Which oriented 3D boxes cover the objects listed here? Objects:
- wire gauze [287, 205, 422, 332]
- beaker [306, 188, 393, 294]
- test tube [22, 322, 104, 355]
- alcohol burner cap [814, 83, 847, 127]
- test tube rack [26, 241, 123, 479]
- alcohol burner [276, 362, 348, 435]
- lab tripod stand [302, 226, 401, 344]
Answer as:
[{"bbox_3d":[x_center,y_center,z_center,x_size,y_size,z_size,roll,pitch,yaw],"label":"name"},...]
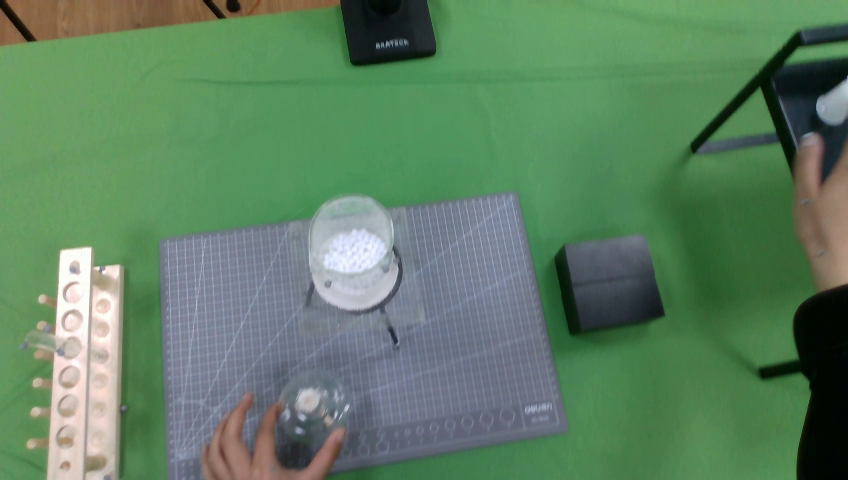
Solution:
[{"bbox_3d":[-0.071,0.027,0.608,0.125,0.011,0.120,-6,74,-8],"label":"wire gauze"},{"bbox_3d":[-0.069,0.008,0.563,0.084,0.101,0.073,-41,79,-14],"label":"beaker"},{"bbox_3d":[-0.360,0.102,0.613,0.017,0.151,0.017,2,73,-5],"label":"test tube"},{"bbox_3d":[0.429,-0.141,0.620,0.034,0.048,0.033,1,72,-4],"label":"alcohol burner cap"},{"bbox_3d":[-0.380,0.130,0.655,0.067,0.085,0.241,-5,74,-5],"label":"test tube rack"},{"bbox_3d":[-0.120,0.167,0.642,0.078,0.119,0.077,1,73,-4],"label":"alcohol burner"},{"bbox_3d":[-0.071,0.043,0.672,0.148,0.132,0.147,1,71,-2],"label":"lab tripod stand"}]
